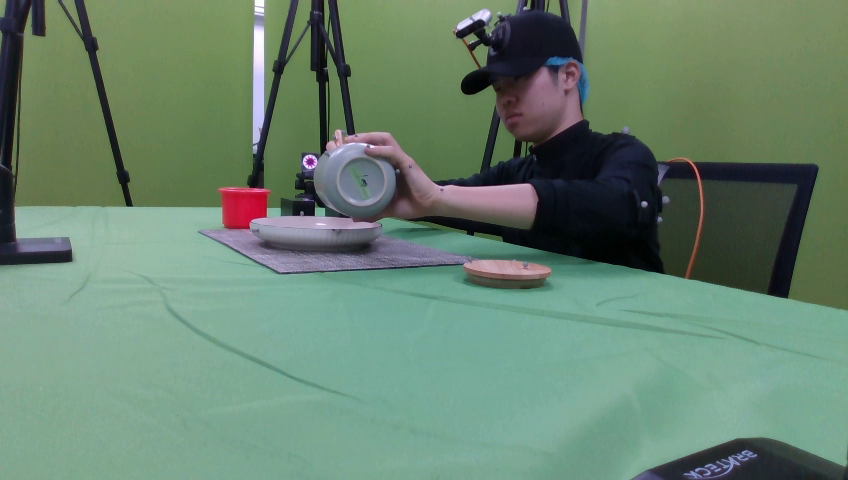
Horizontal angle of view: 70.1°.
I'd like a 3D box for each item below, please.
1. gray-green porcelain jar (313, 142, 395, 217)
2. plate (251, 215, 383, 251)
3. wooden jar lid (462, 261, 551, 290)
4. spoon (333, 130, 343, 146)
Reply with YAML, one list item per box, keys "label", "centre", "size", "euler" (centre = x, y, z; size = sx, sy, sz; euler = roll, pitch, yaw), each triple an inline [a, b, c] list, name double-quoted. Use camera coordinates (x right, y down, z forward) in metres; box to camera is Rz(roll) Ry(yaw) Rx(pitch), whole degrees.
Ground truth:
- label: "gray-green porcelain jar"
  centre: [-0.102, -0.088, 0.874]
  size: [0.106, 0.106, 0.126]
  euler: [0, 7, -17]
- label: "plate"
  centre: [-0.170, -0.012, 0.971]
  size: [0.208, 0.039, 0.207]
  euler: [2, 7, 0]
- label: "wooden jar lid"
  centre: [0.100, 0.043, 0.742]
  size: [0.108, 0.020, 0.108]
  euler: [2, 6, 0]
- label: "spoon"
  centre: [-0.125, -0.121, 0.923]
  size: [0.042, 0.021, 0.193]
  euler: [-7, 35, -11]
